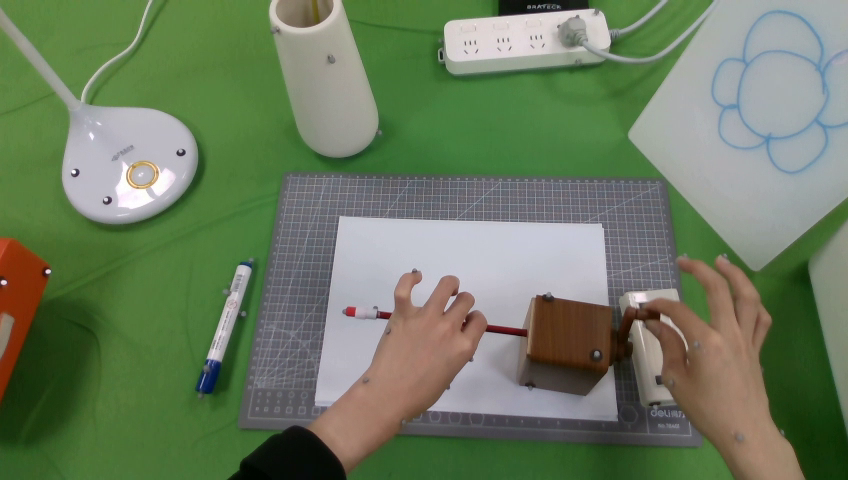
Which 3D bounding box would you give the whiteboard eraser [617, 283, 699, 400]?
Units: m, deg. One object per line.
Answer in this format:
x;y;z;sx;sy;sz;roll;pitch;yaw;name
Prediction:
0.229;0.099;0.599;0.055;0.042;0.111;-3;64;-1;whiteboard eraser

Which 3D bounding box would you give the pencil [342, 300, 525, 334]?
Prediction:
0.022;0.072;0.549;0.194;0.012;0.012;7;65;2;pencil

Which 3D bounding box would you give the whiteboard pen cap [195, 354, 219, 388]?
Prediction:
-0.218;0.131;0.611;0.018;0.018;0.033;6;59;6;whiteboard pen cap

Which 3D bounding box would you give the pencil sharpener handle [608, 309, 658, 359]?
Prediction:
0.178;0.082;0.525;0.030;0.068;0.035;8;54;6;pencil sharpener handle

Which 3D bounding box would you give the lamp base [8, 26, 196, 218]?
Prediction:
-0.368;-0.137;0.663;0.178;0.182;0.160;32;69;20;lamp base

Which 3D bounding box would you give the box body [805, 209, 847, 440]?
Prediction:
0.511;0.128;0.509;0.254;0.161;0.361;1;65;3;box body

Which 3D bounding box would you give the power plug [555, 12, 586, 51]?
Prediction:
0.179;-0.249;0.749;0.035;0.053;0.072;5;66;6;power plug

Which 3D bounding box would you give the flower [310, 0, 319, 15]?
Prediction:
-0.108;-0.235;0.597;0.038;0.365;0.043;-10;46;-10;flower

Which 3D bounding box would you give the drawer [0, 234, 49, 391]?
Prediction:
-0.498;0.086;0.567;0.211;0.074;0.193;4;66;4;drawer

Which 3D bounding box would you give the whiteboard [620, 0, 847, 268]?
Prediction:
0.386;-0.157;0.605;0.144;0.307;0.215;-20;63;-28;whiteboard

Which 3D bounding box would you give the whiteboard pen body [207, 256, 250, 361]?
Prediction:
-0.209;0.081;0.639;0.017;0.017;0.139;5;61;6;whiteboard pen body

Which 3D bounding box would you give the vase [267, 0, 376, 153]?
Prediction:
-0.112;-0.183;0.664;0.098;0.201;0.097;-2;64;3;vase

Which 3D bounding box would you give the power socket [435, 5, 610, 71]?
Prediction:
0.127;-0.261;0.783;0.227;0.033;0.071;-4;65;0;power socket

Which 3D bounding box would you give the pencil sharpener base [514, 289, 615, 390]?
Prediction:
0.129;0.096;0.568;0.076;0.108;0.061;8;64;6;pencil sharpener base

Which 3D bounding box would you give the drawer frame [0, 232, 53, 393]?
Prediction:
-0.504;0.088;0.569;0.213;0.083;0.200;5;65;2;drawer frame
